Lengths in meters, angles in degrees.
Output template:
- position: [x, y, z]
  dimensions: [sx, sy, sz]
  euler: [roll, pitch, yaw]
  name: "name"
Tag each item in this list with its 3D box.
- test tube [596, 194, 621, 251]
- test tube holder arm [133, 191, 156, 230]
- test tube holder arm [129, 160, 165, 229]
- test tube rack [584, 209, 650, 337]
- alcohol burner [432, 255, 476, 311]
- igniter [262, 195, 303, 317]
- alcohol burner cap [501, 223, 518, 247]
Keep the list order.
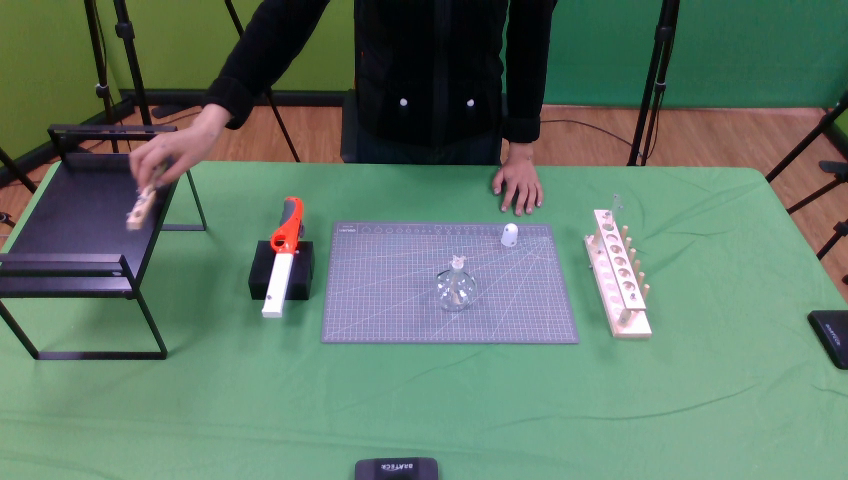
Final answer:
- position: [0.346, -0.029, 1.141]
  dimensions: [0.017, 0.151, 0.017]
  euler: [0, 50, 0]
  name: "test tube"
- position: [-0.417, -0.046, 0.904]
  dimensions: [0.010, 0.015, 0.087]
  euler: [16, 34, -17]
  name: "test tube holder arm"
- position: [-0.426, -0.074, 0.938]
  dimensions: [0.013, 0.015, 0.177]
  euler: [14, 34, -19]
  name: "test tube holder arm"
- position: [0.365, 0.056, 1.129]
  dimensions: [0.067, 0.085, 0.240]
  euler: [1, 46, -3]
  name: "test tube rack"
- position: [0.055, 0.070, 1.068]
  dimensions: [0.078, 0.119, 0.077]
  euler: [3, 45, -3]
  name: "alcohol burner"
- position: [-0.252, 0.019, 1.090]
  dimensions: [0.057, 0.025, 0.275]
  euler: [0, 49, 0]
  name: "igniter"
- position: [0.172, -0.013, 1.207]
  dimensions: [0.034, 0.048, 0.033]
  euler: [1, 45, -1]
  name: "alcohol burner cap"
